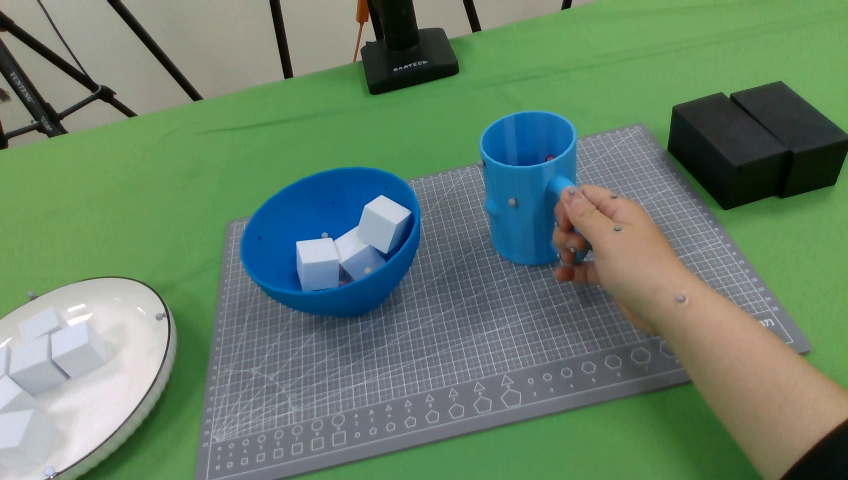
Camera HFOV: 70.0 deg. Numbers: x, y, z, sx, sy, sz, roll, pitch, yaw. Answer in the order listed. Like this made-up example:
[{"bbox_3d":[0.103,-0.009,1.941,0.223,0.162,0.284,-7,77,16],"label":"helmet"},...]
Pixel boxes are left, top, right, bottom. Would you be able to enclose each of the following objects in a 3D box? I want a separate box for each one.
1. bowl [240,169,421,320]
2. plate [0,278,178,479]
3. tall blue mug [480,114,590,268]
[{"bbox_3d":[-0.070,0.016,0.518,0.151,0.077,0.150,-7,44,7],"label":"bowl"},{"bbox_3d":[-0.302,0.120,0.502,0.209,0.038,0.207,-6,44,7],"label":"plate"},{"bbox_3d":[0.102,-0.034,0.504,0.106,0.109,0.077,22,53,31],"label":"tall blue mug"}]
